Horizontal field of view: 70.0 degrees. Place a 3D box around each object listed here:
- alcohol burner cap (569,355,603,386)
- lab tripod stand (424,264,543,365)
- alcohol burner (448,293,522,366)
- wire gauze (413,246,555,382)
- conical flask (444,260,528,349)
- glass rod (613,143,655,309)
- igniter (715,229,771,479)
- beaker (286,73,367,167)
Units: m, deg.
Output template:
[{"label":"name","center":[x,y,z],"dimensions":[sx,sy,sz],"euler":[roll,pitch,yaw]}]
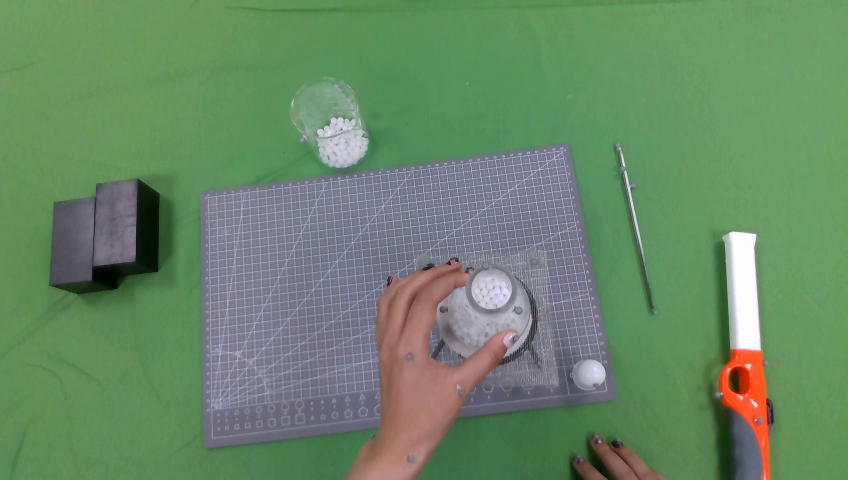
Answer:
[{"label":"alcohol burner cap","center":[0.172,0.136,0.635],"dimensions":[0.034,0.048,0.033],"euler":[-1,75,5]},{"label":"lab tripod stand","center":[0.060,0.085,0.609],"dimensions":[0.148,0.132,0.147],"euler":[-1,77,5]},{"label":"alcohol burner","center":[0.062,0.089,0.618],"dimensions":[0.078,0.120,0.077],"euler":[-2,75,6]},{"label":"wire gauze","center":[0.052,0.067,0.546],"dimensions":[0.125,0.011,0.121],"euler":[-1,78,2]},{"label":"conical flask","center":[0.051,0.047,0.490],"dimensions":[0.075,0.122,0.075],"euler":[-1,77,4]},{"label":"glass rod","center":[0.239,-0.019,0.690],"dimensions":[0.008,0.008,0.198],"euler":[-8,74,2]},{"label":"igniter","center":[0.333,0.122,0.638],"dimensions":[0.057,0.025,0.275],"euler":[6,75,-5]},{"label":"beaker","center":[-0.105,-0.132,0.699],"dimensions":[0.083,0.101,0.074],"euler":[28,79,10]}]
